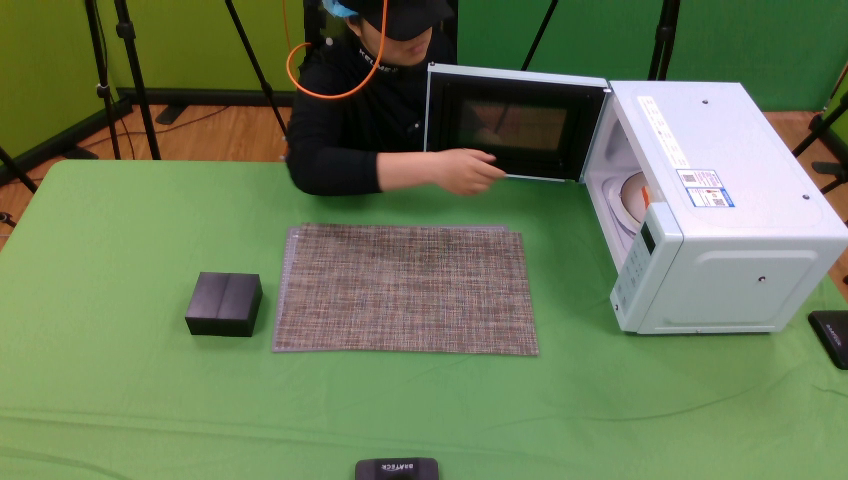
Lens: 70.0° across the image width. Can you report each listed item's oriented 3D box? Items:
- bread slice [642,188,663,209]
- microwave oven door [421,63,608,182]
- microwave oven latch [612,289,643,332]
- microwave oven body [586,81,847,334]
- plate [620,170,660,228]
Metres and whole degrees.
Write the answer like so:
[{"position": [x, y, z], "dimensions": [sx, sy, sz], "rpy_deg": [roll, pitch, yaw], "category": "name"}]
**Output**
[{"position": [0.493, -0.056, 1.196], "dimensions": [0.105, 0.019, 0.131], "rpy_deg": [6, 42, 3], "category": "bread slice"}, {"position": [0.178, -0.241, 1.268], "dimensions": [0.356, 0.245, 0.039], "rpy_deg": [5, 46, 1], "category": "microwave oven door"}, {"position": [0.357, 0.124, 1.068], "dimensions": [0.030, 0.029, 0.078], "rpy_deg": [0, 45, -3], "category": "microwave oven latch"}, {"position": [0.501, -0.070, 1.132], "dimensions": [0.326, 0.261, 0.438], "rpy_deg": [-1, 45, -3], "category": "microwave oven body"}, {"position": [0.489, -0.060, 1.194], "dimensions": [0.209, 0.038, 0.208], "rpy_deg": [3, 45, -2], "category": "plate"}]
